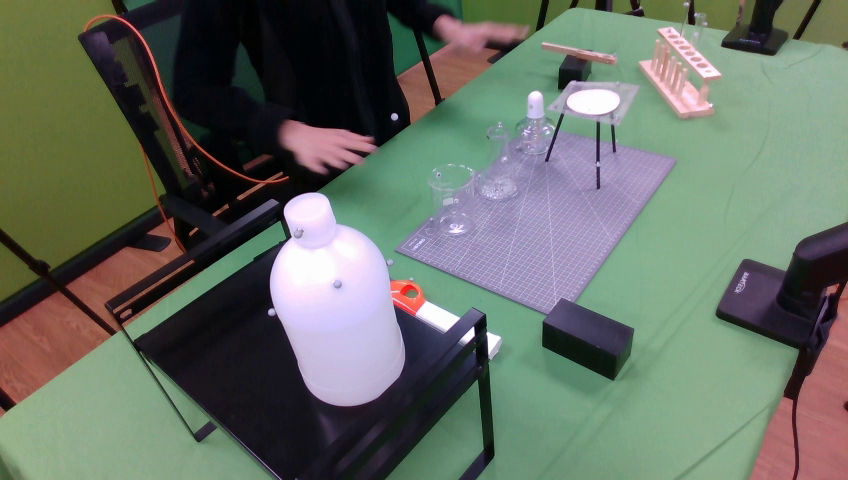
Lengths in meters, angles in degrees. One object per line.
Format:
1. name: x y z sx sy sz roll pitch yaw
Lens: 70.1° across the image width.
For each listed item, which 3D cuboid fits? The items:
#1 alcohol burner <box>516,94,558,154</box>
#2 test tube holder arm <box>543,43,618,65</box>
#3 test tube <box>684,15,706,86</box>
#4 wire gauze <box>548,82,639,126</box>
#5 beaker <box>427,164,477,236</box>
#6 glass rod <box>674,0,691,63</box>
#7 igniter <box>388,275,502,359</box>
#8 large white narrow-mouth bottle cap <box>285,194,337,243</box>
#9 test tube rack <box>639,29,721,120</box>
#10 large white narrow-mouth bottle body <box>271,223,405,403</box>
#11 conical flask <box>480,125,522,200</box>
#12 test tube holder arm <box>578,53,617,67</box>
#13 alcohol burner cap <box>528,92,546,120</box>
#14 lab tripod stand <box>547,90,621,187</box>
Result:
1. alcohol burner: 0.212 -0.221 1.135 0.078 0.119 0.077 -5 42 5
2. test tube holder arm: 0.345 -0.413 1.341 0.177 0.015 0.013 25 50 31
3. test tube: 0.541 -0.378 1.216 0.017 0.151 0.017 -2 44 3
4. wire gauze: 0.286 -0.235 1.019 0.124 0.011 0.121 17 46 28
5. beaker: 0.051 -0.064 0.986 0.084 0.101 0.073 -23 43 -18
6. glass rod: 0.537 -0.437 1.257 0.008 0.200 0.008 0 39 1
7. igniter: -0.009 0.094 0.870 0.274 0.025 0.057 25 61 33
8. large white narrow-mouth bottle cap: -0.087 -0.017 0.467 0.038 0.024 0.037 -5 40 4
9. test tube rack: 0.527 -0.351 1.262 0.067 0.085 0.241 -8 40 1
10. large white narrow-mouth bottle body: -0.077 0.048 0.525 0.102 0.195 0.101 -5 40 5
11. conical flask: 0.130 -0.135 1.038 0.075 0.122 0.075 -4 40 4
12. test tube holder arm: 0.376 -0.393 1.314 0.087 0.015 0.010 26 51 32
13. alcohol burner cap: 0.206 -0.249 1.112 0.034 0.048 0.033 -6 35 5
14. lab tripod stand: 0.289 -0.184 1.062 0.148 0.132 0.147 -6 41 6
